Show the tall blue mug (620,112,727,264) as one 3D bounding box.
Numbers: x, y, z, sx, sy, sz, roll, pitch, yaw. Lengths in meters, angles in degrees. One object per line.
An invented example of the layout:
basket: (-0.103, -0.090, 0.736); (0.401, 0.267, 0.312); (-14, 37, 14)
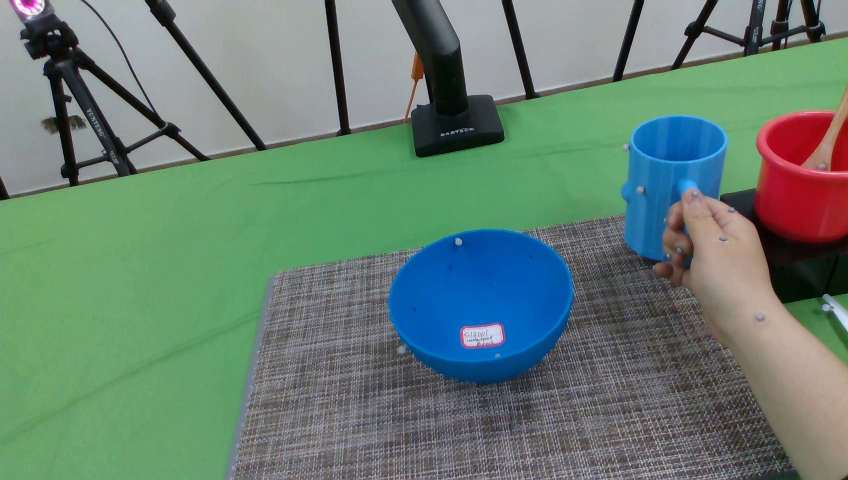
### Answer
tall blue mug: (0.225, -0.038, 0.529); (0.078, 0.109, 0.106); (-21, 41, -11)

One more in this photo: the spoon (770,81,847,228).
spoon: (0.343, -0.099, 0.501); (0.041, 0.022, 0.194); (28, 99, 40)

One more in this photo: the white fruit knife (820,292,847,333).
white fruit knife: (0.346, 0.109, 0.438); (0.027, 0.016, 0.205); (11, 36, -13)

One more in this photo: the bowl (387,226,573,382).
bowl: (0.050, 0.066, 0.511); (0.151, 0.077, 0.150); (-8, 40, 7)
